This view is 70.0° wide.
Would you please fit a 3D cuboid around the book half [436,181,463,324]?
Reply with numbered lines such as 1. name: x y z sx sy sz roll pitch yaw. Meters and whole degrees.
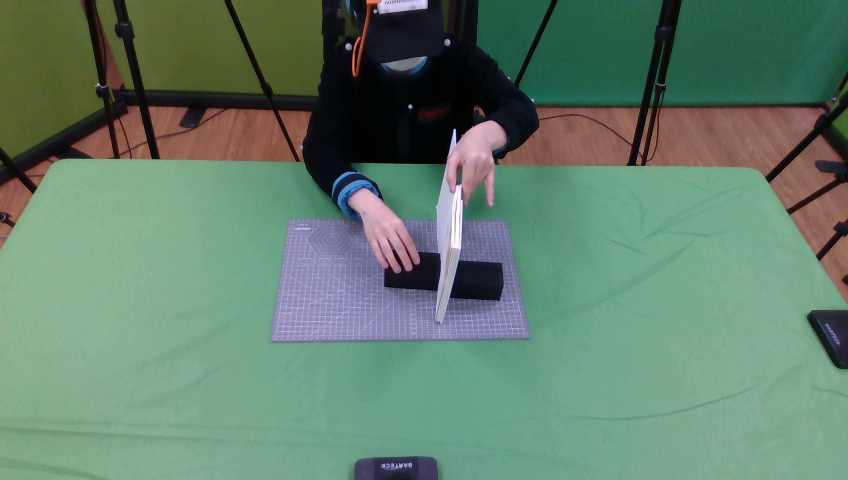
1. book half: 0.043 0.027 1.034 0.016 0.211 0.147 8 49 -3

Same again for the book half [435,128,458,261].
1. book half: 0.040 -0.081 1.126 0.007 0.211 0.142 5 49 -6
